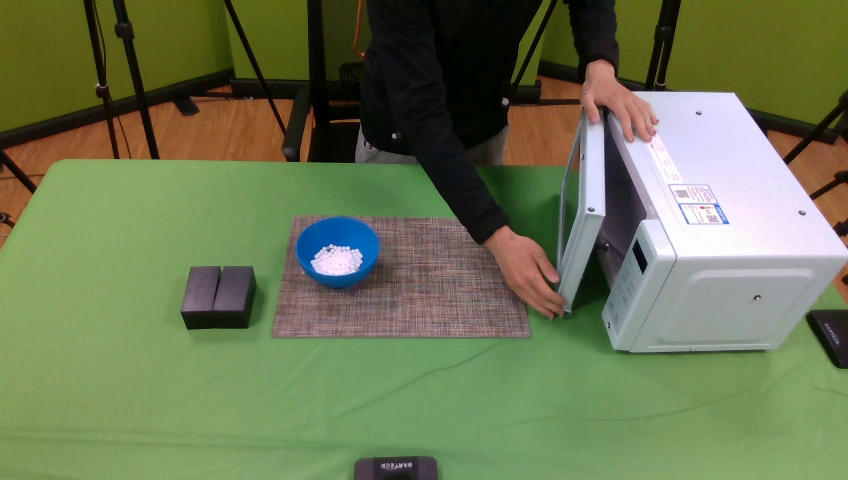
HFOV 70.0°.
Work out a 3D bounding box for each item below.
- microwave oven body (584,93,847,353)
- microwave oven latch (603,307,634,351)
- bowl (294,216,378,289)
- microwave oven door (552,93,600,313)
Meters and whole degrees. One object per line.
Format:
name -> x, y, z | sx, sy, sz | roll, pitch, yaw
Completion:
microwave oven body -> 0.475, -0.041, 1.109 | 0.326, 0.261, 0.438 | -1, 45, -4
microwave oven latch -> 0.332, 0.153, 1.044 | 0.030, 0.029, 0.078 | 0, 45, -3
bowl -> -0.158, 0.036, 1.110 | 0.151, 0.077, 0.150 | 3, 45, -2
microwave oven door -> 0.285, -0.078, 1.123 | 0.039, 0.245, 0.354 | 10, 46, 5
